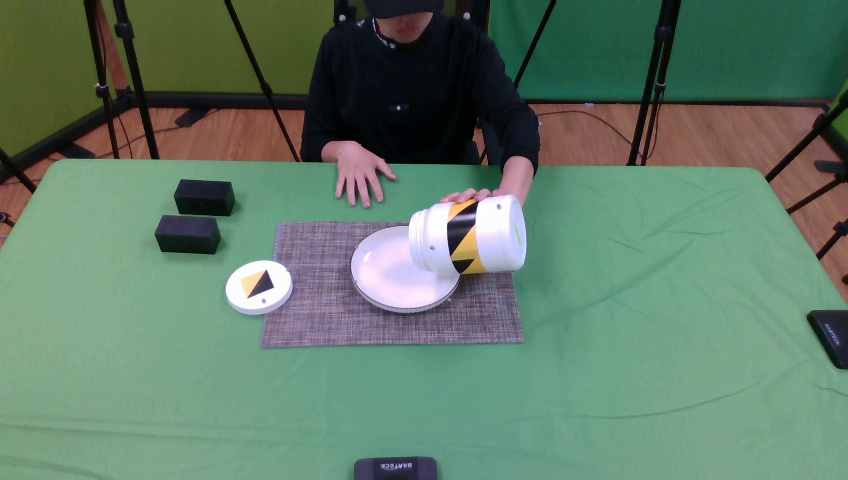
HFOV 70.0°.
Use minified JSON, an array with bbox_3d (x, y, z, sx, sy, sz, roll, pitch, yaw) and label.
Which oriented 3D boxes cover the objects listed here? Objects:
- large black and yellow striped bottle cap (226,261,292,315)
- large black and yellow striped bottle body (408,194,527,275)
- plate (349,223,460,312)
[{"bbox_3d":[-0.298,0.085,1.092,0.115,0.019,0.114,0,45,1],"label":"large black and yellow striped bottle cap"},{"bbox_3d":[0.075,-0.006,1.055,0.184,0.131,0.130,-6,42,22],"label":"large black and yellow striped bottle body"},{"bbox_3d":[-0.035,0.054,1.126,0.208,0.039,0.206,2,46,-2],"label":"plate"}]
